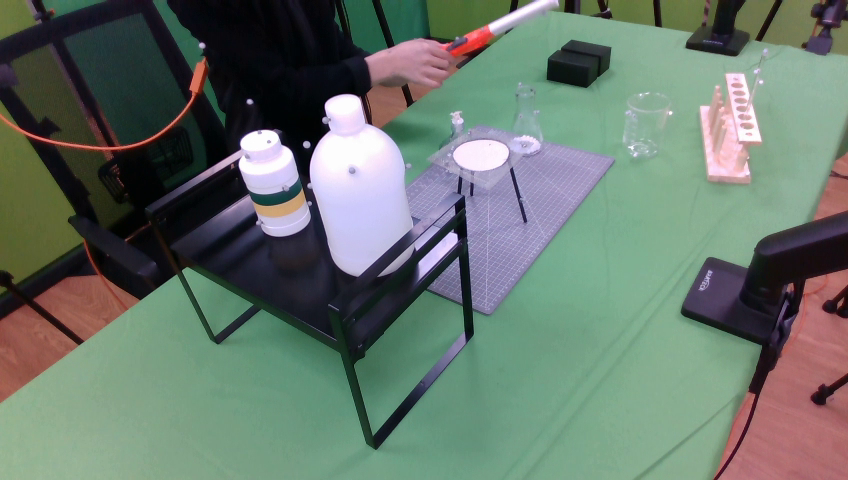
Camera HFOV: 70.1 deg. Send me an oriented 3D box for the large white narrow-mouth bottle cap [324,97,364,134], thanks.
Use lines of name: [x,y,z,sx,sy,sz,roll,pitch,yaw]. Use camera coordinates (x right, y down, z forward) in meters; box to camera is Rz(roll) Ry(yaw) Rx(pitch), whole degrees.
large white narrow-mouth bottle cap: [-0.077,-0.121,0.585,0.038,0.024,0.037,-3,42,4]

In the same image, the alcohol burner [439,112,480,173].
alcohol burner: [0.064,-0.183,1.107,0.078,0.119,0.077,-4,43,4]

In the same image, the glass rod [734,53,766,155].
glass rod: [0.540,-0.220,1.006,0.008,0.201,0.008,-5,45,6]

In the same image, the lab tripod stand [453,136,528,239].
lab tripod stand: [0.094,-0.086,0.974,0.148,0.132,0.147,-4,43,4]

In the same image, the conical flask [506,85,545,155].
conical flask: [0.190,-0.227,1.134,0.075,0.122,0.075,-4,41,4]

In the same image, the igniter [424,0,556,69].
igniter: [0.116,-0.392,1.139,0.275,0.057,0.025,-21,79,26]

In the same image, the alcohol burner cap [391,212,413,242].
alcohol burner cap: [-0.038,-0.023,0.989,0.034,0.048,0.033,-4,40,4]

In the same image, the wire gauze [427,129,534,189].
wire gauze: [0.086,-0.131,0.923,0.124,0.011,0.122,26,52,33]

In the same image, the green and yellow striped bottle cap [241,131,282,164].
green and yellow striped bottle cap: [-0.187,-0.107,0.695,0.045,0.020,0.045,-3,39,3]

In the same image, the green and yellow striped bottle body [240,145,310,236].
green and yellow striped bottle body: [-0.181,-0.068,0.729,0.063,0.120,0.063,-4,40,4]

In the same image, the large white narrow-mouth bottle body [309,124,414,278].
large white narrow-mouth bottle body: [-0.068,-0.057,0.645,0.102,0.195,0.101,-4,42,4]

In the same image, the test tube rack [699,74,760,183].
test tube rack: [0.547,-0.208,1.095,0.066,0.085,0.242,6,42,16]

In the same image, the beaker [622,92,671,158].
beaker: [0.402,-0.210,1.106,0.074,0.101,0.083,-9,40,-2]
